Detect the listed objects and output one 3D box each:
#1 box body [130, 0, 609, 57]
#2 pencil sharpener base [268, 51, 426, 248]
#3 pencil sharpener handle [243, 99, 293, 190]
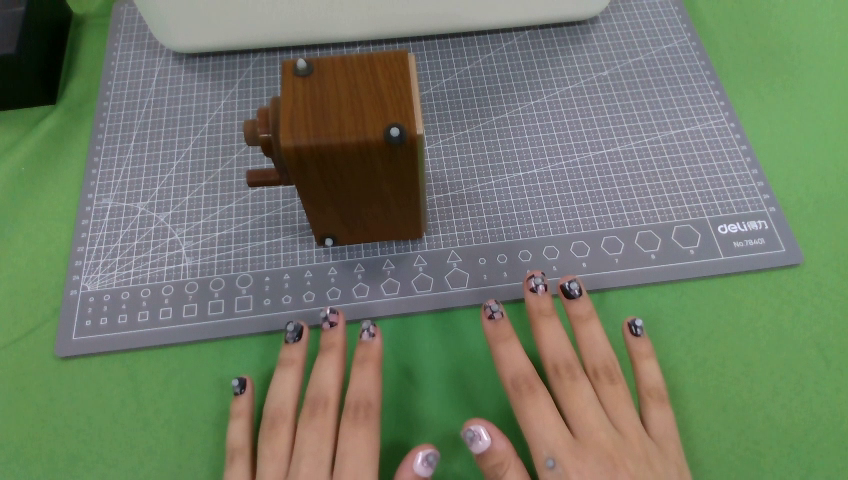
[{"bbox_3d":[-0.041,-0.287,0.450,0.364,0.161,0.251,-6,60,-3],"label":"box body"},{"bbox_3d":[-0.040,-0.046,0.347,0.077,0.108,0.061,-5,61,-2],"label":"pencil sharpener base"},{"bbox_3d":[-0.091,-0.048,0.335,0.030,0.068,0.035,-5,63,-1],"label":"pencil sharpener handle"}]
